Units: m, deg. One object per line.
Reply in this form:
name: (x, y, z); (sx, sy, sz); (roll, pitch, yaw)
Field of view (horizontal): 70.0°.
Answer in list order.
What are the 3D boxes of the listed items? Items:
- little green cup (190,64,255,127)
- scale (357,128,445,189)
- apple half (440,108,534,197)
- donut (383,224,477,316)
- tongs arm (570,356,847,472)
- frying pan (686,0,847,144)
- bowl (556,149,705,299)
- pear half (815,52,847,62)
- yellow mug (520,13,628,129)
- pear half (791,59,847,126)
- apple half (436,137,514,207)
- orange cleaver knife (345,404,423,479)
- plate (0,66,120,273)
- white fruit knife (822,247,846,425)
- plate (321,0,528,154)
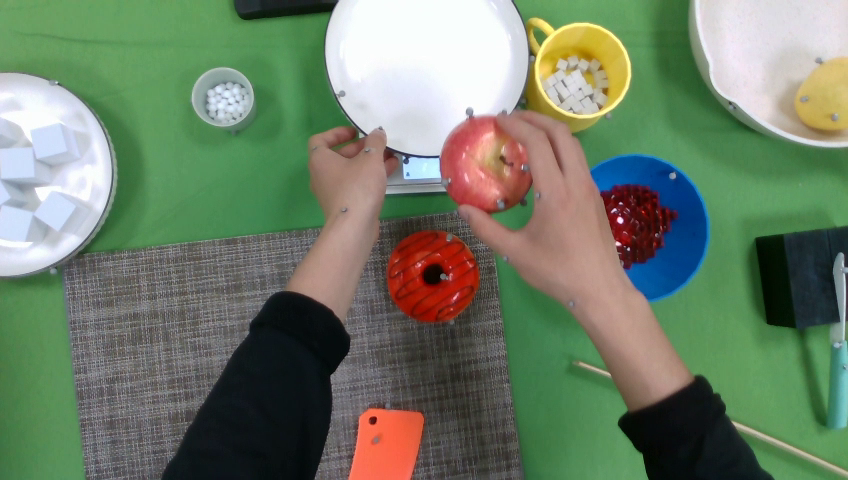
little green cup: (-0.207, -0.148, 0.633); (0.061, 0.038, 0.061); (0, 87, -4)
scale: (0.001, -0.158, 0.652); (0.149, 0.031, 0.200); (-2, 88, -4)
apple half: (0.058, -0.079, 0.504); (0.081, 0.074, 0.053); (39, 85, -7)
donut: (0.005, 0.031, 0.635); (0.099, 0.048, 0.099); (0, 90, -4)
tongs arm: (0.336, 0.206, 0.662); (0.388, 0.028, 0.028); (24, 79, -3)
frying pan: (0.478, -0.160, 0.650); (0.307, 0.103, 0.486); (-34, 82, -4)
bowl: (0.205, -0.014, 0.638); (0.151, 0.077, 0.151); (0, 88, -4)
pear half: (0.459, -0.183, 0.652); (0.070, 0.088, 0.031); (28, 87, 1)
yellow mug: (0.148, -0.188, 0.646); (0.100, 0.064, 0.131); (-39, 90, -4)
pear half: (0.440, -0.154, 0.640); (0.076, 0.110, 0.056); (30, 86, 2)
apple half: (0.034, -0.048, 0.502); (0.081, 0.081, 0.033); (38, 85, -1)
orange cleaver knife: (-0.063, 0.269, 0.632); (0.077, 0.012, 0.211); (22, 84, -8)
plate: (-0.413, -0.070, 0.615); (0.208, 0.039, 0.207); (0, 88, -4)
white fruit knife: (0.440, 0.108, 0.650); (0.016, 0.027, 0.208); (-9, 103, -4)
plate: (0.001, -0.189, 0.620); (0.209, 0.038, 0.209); (0, 88, -5)
